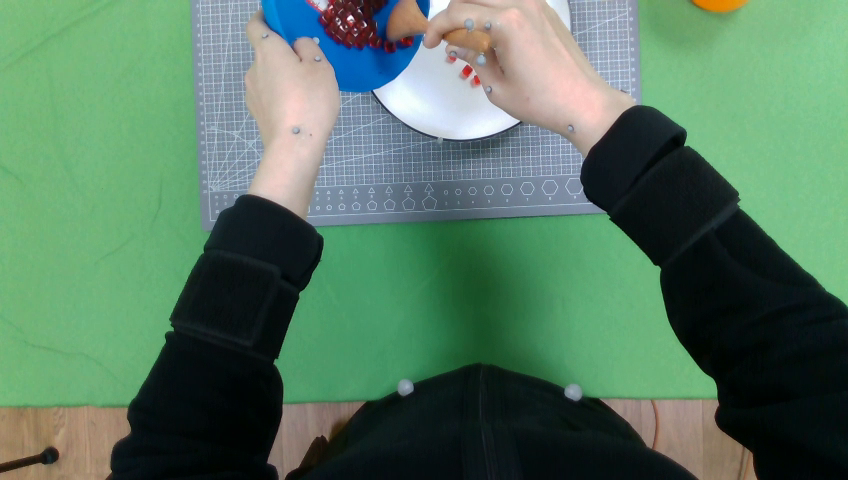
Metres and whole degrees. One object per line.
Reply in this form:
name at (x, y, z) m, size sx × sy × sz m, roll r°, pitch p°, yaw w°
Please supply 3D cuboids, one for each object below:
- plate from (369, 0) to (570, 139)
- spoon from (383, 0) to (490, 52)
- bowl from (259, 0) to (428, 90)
plate at (0.036, -0.202, 0.592) m, size 0.209 × 0.038 × 0.209 m, roll 0°, pitch 91°, yaw 3°
spoon at (0.006, -0.159, 0.449) m, size 0.022 × 0.191 × 0.041 m, roll 22°, pitch 103°, yaw -33°
bowl at (-0.078, -0.204, 0.499) m, size 0.076 × 0.153 × 0.151 m, roll 24°, pitch 92°, yaw 44°
